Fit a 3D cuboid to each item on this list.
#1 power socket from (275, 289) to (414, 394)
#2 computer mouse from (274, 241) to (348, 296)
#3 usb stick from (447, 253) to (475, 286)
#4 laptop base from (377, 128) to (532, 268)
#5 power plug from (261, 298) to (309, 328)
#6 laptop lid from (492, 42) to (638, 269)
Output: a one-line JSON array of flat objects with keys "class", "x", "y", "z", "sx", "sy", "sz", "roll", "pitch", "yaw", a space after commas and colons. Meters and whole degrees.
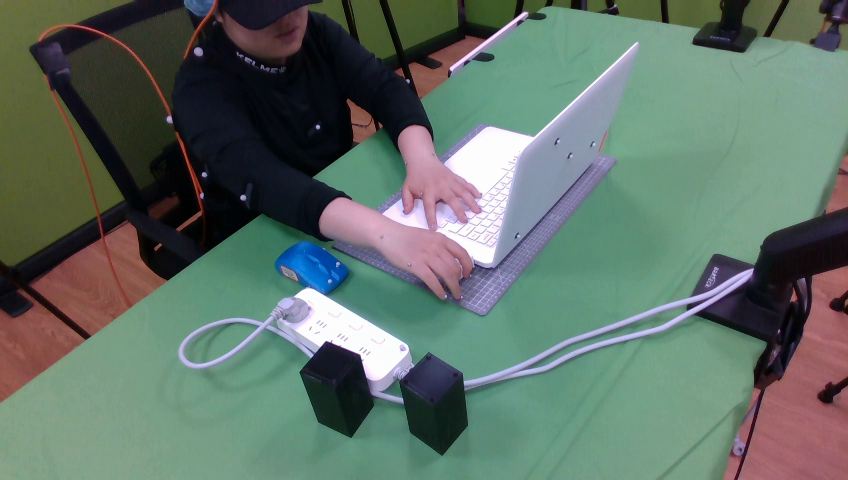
[{"class": "power socket", "x": -0.115, "y": 0.133, "z": 0.820, "sx": 0.225, "sy": 0.033, "sz": 0.072, "roll": 25, "pitch": 49, "yaw": 32}, {"class": "computer mouse", "x": -0.176, "y": 0.040, "z": 0.935, "sx": 0.116, "sy": 0.041, "sz": 0.063, "roll": 26, "pitch": 49, "yaw": 28}, {"class": "usb stick", "x": 0.060, "y": 0.039, "z": 0.900, "sx": 0.021, "sy": 0.027, "sz": 0.059, "roll": 20, "pitch": 46, "yaw": 31}, {"class": "laptop base", "x": 0.115, "y": -0.088, "z": 1.059, "sx": 0.233, "sy": 0.023, "sz": 0.355, "roll": 20, "pitch": 47, "yaw": 34}, {"class": "power plug", "x": -0.192, "y": 0.107, "z": 0.831, "sx": 0.073, "sy": 0.053, "sz": 0.035, "roll": -32, "pitch": 43, "yaw": -25}, {"class": "laptop lid", "x": 0.216, "y": -0.129, "z": 0.912, "sx": 0.013, "sy": 0.242, "sz": 0.358, "roll": 31, "pitch": 51, "yaw": 22}]
